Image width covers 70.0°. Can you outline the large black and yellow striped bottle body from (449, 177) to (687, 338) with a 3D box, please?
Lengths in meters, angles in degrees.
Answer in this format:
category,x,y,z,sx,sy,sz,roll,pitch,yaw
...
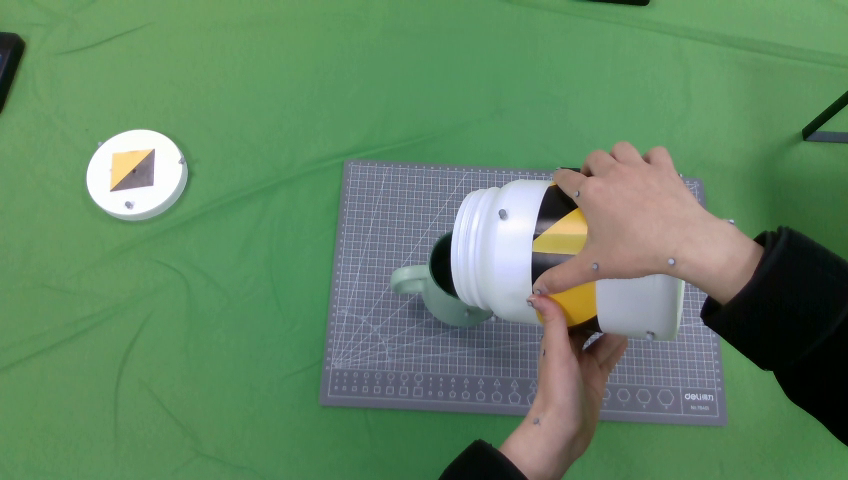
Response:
category,x,y,z,sx,sy,sz,roll,pitch,yaw
large black and yellow striped bottle body,0.126,0.011,0.529,0.183,0.132,0.130,4,69,25

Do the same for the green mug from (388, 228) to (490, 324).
category,x,y,z,sx,sy,sz,roll,pitch,yaw
green mug,0.023,0.040,0.657,0.125,0.105,0.092,-4,72,-3

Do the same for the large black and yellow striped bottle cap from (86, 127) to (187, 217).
category,x,y,z,sx,sy,sz,roll,pitch,yaw
large black and yellow striped bottle cap,-0.348,-0.083,0.733,0.115,0.019,0.114,1,70,-2
